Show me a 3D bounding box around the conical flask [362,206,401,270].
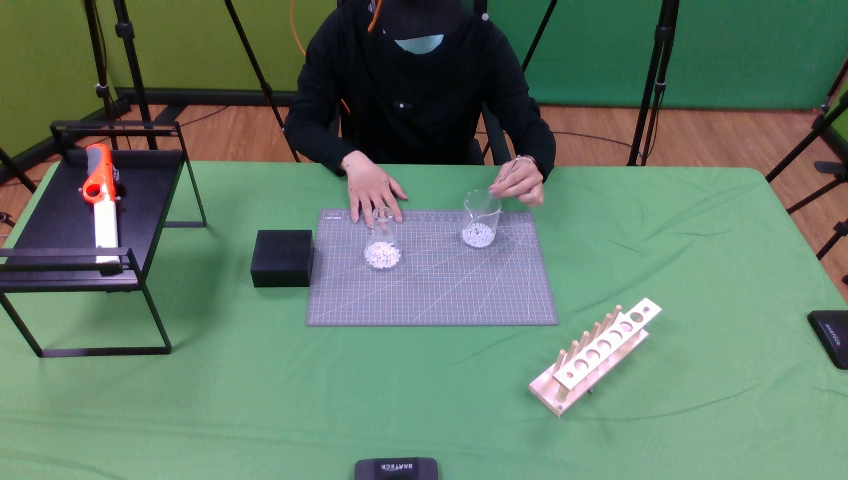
[{"bbox_3d":[-0.078,-0.008,1.126,0.075,0.122,0.075,2,46,-2],"label":"conical flask"}]

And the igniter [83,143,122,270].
[{"bbox_3d":[-0.508,-0.063,0.962,0.057,0.025,0.274,-14,53,-18],"label":"igniter"}]

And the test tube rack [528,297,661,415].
[{"bbox_3d":[0.285,0.178,1.005,0.242,0.085,0.066,-31,55,-29],"label":"test tube rack"}]

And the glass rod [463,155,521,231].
[{"bbox_3d":[0.127,-0.087,1.158,0.008,0.200,0.008,22,37,-18],"label":"glass rod"}]

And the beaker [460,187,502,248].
[{"bbox_3d":[0.109,-0.039,1.186,0.074,0.101,0.083,19,49,14],"label":"beaker"}]
